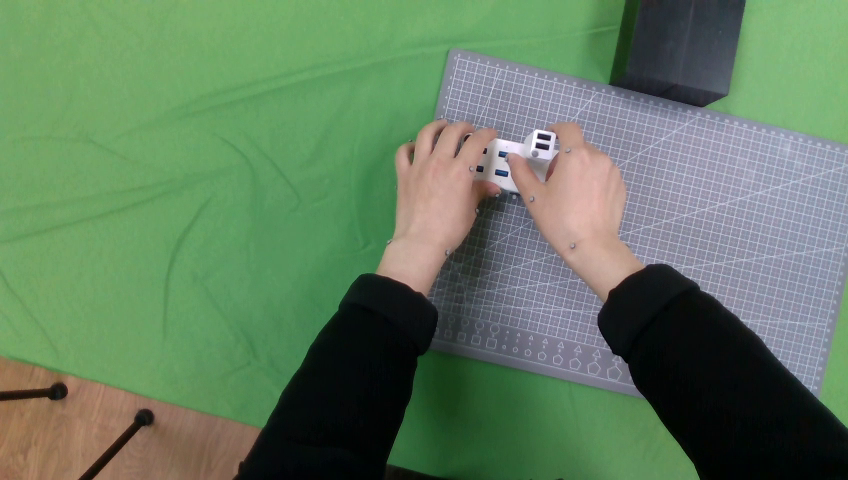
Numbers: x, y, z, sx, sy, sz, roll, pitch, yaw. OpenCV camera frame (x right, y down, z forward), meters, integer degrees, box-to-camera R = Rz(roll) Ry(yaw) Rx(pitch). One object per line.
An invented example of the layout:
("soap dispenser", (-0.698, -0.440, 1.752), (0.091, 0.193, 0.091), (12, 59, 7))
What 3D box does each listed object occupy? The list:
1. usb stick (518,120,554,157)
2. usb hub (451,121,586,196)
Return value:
("usb stick", (0.102, -0.093, 0.566), (0.021, 0.059, 0.027), (12, 87, -3))
("usb hub", (0.092, -0.080, 0.598), (0.125, 0.025, 0.049), (12, 91, -3))
